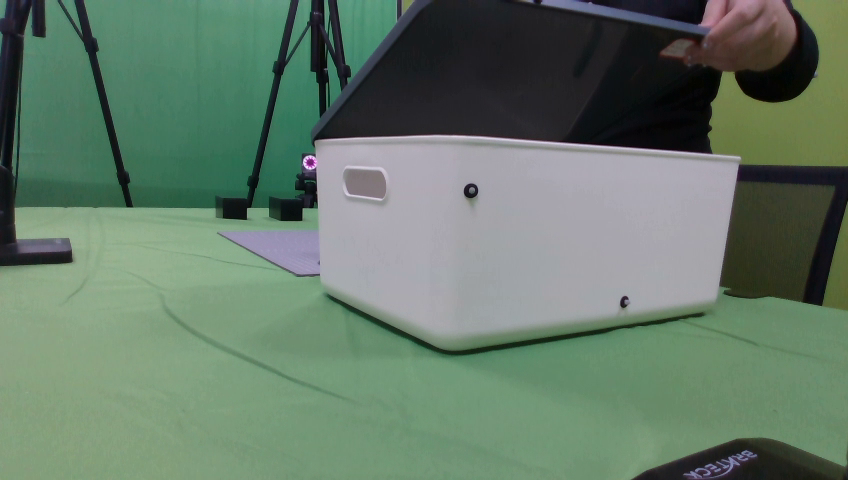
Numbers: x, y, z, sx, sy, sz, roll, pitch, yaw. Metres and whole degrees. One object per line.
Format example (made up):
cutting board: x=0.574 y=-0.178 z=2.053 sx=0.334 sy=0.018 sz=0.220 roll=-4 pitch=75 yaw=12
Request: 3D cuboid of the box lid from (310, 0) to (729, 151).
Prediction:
box lid: x=0.094 y=-0.142 z=0.599 sx=0.373 sy=0.015 sz=0.262 roll=-4 pitch=-17 yaw=-34

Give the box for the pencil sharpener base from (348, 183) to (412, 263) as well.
pencil sharpener base: x=-0.059 y=-0.024 z=0.846 sx=0.077 sy=0.107 sz=0.061 roll=-1 pitch=7 yaw=-30

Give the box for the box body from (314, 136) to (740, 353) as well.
box body: x=0.098 y=-0.012 z=0.605 sx=0.366 sy=0.160 sz=0.253 roll=-2 pitch=8 yaw=-33

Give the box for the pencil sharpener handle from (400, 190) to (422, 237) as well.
pencil sharpener handle: x=-0.016 y=-0.038 z=0.872 sx=0.031 sy=0.067 sz=0.036 roll=-1 pitch=15 yaw=-30
